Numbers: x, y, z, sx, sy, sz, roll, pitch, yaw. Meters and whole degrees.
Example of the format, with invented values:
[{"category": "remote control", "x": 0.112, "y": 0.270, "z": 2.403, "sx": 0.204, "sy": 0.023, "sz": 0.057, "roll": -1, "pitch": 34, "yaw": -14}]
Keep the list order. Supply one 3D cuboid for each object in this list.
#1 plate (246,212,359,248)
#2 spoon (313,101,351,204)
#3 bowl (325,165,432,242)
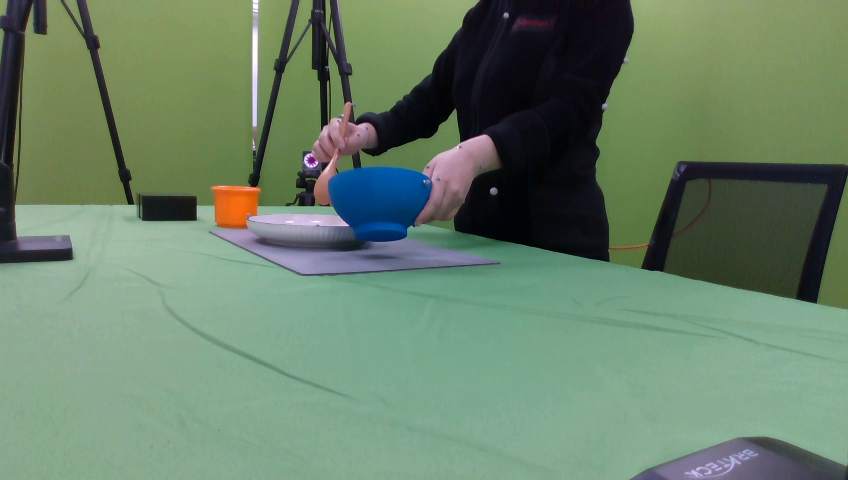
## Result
[{"category": "plate", "x": -0.185, "y": -0.017, "z": 0.994, "sx": 0.209, "sy": 0.038, "sz": 0.209, "roll": 3, "pitch": 8, "yaw": 0}, {"category": "spoon", "x": -0.150, "y": -0.150, "z": 1.023, "sx": 0.041, "sy": 0.193, "sz": 0.022, "roll": 3, "pitch": -24, "yaw": 23}, {"category": "bowl", "x": -0.061, "y": -0.043, "z": 0.848, "sx": 0.151, "sy": 0.076, "sz": 0.151, "roll": -2, "pitch": -13, "yaw": 0}]
